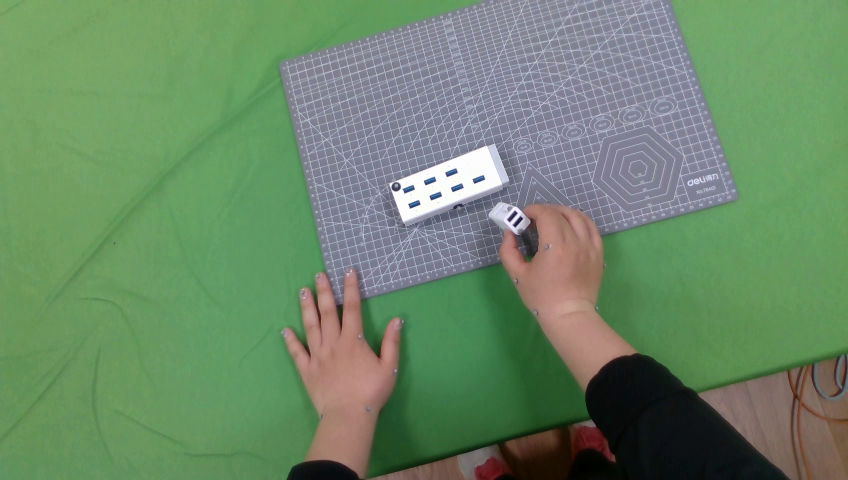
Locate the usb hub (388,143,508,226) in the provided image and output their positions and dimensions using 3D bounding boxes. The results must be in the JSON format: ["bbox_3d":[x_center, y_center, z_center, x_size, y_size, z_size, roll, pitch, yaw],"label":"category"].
[{"bbox_3d":[0.026,-0.061,0.665,0.125,0.025,0.049,-21,79,3],"label":"usb hub"}]

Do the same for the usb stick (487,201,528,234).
[{"bbox_3d":[0.085,-0.024,0.637,0.027,0.059,0.021,43,88,-14],"label":"usb stick"}]
